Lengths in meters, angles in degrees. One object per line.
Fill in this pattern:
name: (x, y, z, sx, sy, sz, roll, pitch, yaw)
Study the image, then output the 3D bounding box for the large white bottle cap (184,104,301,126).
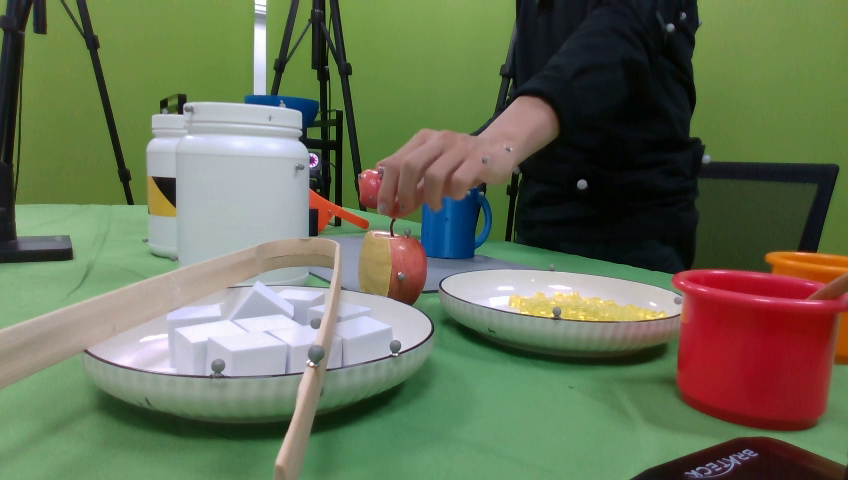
large white bottle cap: (-0.184, -0.126, 0.618, 0.115, 0.018, 0.115, 2, 8, 0)

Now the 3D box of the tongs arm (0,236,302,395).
tongs arm: (-0.158, 0.038, 0.351, 0.028, 0.028, 0.388, -3, 8, 11)

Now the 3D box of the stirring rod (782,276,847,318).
stirring rod: (0.344, 0.019, 0.460, 0.014, 0.006, 0.176, -13, -27, -30)

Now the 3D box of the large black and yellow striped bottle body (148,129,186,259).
large black and yellow striped bottle body: (-0.310, -0.073, 0.838, 0.131, 0.184, 0.130, 2, 8, 0)

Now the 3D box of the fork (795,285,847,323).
fork: (0.332, 0.018, 0.443, 0.028, 0.018, 0.207, -1, -36, -15)

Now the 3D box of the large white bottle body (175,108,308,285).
large white bottle body: (-0.188, -0.042, 0.630, 0.131, 0.184, 0.130, 2, 8, 0)

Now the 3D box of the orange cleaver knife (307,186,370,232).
orange cleaver knife: (-0.197, -0.056, 1.141, 0.212, 0.077, 0.012, 29, 0, -34)

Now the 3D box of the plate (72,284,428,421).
plate: (-0.102, 0.066, 0.381, 0.208, 0.039, 0.207, 2, 7, 0)

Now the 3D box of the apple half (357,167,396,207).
apple half: (-0.086, -0.103, 1.133, 0.081, 0.081, 0.032, 0, -10, -20)

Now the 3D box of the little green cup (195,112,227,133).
little green cup: (-0.412, -0.227, 1.171, 0.061, 0.038, 0.061, 3, 8, 0)

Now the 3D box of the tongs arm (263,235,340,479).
tongs arm: (-0.074, 0.039, 0.349, 0.051, 0.026, 0.384, -2, 9, -3)

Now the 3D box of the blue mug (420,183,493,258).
blue mug: (0.052, -0.032, 0.912, 0.117, 0.106, 0.082, -1, 8, -24)

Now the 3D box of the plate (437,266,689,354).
plate: (0.114, 0.057, 0.517, 0.209, 0.038, 0.209, 3, 7, 0)

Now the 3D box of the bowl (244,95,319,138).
bowl: (-0.293, -0.251, 1.249, 0.151, 0.077, 0.151, 2, 8, 0)

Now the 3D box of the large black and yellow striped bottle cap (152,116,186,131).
large black and yellow striped bottle cap: (-0.309, -0.156, 0.826, 0.115, 0.019, 0.115, 3, 6, 0)

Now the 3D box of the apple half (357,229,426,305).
apple half: (-0.026, 0.028, 0.570, 0.053, 0.074, 0.080, 3, 2, -28)

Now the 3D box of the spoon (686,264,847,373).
spoon: (0.214, 0.032, 0.328, 0.042, 0.021, 0.193, -2, -35, -25)
